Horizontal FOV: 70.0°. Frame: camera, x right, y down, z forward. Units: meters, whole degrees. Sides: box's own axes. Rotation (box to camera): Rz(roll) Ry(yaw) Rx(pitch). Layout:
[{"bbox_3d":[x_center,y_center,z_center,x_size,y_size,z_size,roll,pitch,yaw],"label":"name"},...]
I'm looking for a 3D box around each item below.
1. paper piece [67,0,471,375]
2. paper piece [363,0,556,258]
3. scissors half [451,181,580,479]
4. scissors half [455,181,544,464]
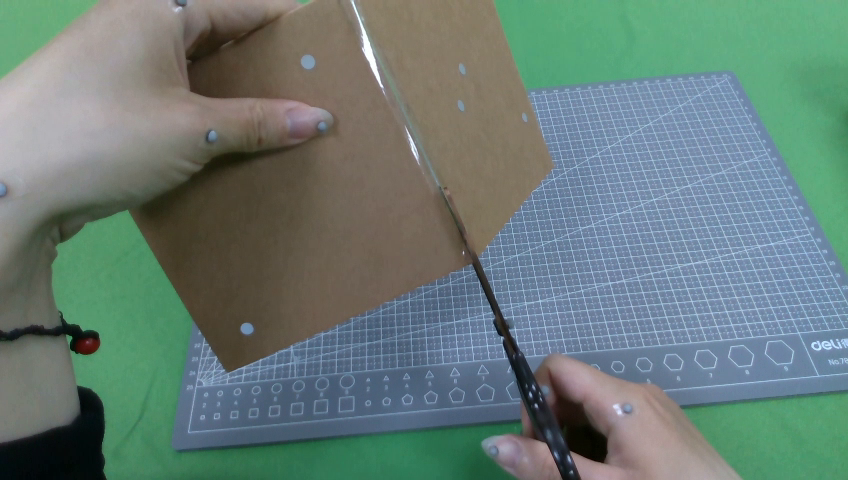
[{"bbox_3d":[-0.068,-0.019,0.280,0.138,0.136,0.008,-24,12,5],"label":"paper piece"},{"bbox_3d":[0.029,-0.079,0.321,0.004,0.136,0.135,-11,20,36],"label":"paper piece"},{"bbox_3d":[0.045,0.053,0.286,0.013,0.040,0.175,-21,88,-2],"label":"scissors half"},{"bbox_3d":[0.043,0.049,0.308,0.013,0.176,0.039,-20,26,3],"label":"scissors half"}]
